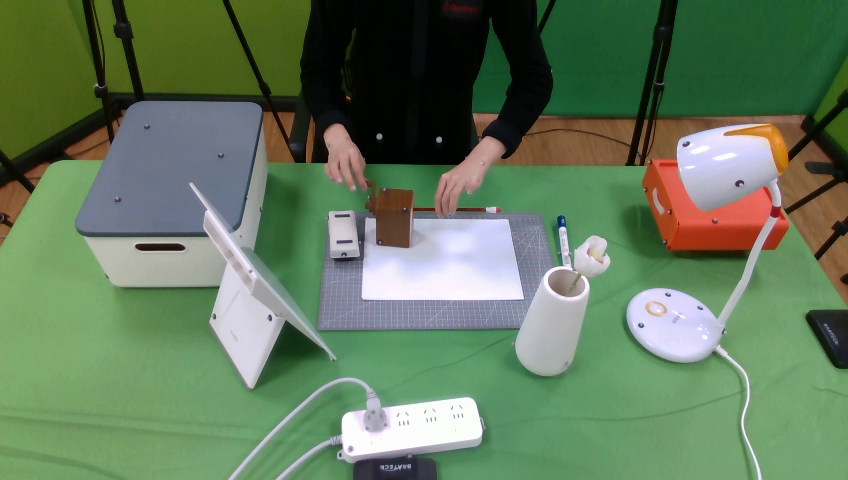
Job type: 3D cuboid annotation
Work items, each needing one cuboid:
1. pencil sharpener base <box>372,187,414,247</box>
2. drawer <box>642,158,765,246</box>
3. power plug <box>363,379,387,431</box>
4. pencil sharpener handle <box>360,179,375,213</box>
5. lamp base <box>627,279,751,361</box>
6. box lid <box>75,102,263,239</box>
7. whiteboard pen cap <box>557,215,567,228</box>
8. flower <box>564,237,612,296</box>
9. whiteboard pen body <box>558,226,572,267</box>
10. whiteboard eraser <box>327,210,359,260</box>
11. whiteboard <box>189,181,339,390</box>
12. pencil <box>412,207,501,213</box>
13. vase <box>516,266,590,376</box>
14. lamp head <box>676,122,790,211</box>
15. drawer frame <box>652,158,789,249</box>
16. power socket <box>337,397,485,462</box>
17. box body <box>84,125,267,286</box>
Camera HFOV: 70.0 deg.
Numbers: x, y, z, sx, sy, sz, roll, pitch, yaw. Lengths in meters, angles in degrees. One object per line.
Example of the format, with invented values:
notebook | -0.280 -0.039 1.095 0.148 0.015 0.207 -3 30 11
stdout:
pencil sharpener base | -0.060 -0.043 1.171 0.077 0.107 0.061 5 46 1
drawer | 0.565 -0.076 1.211 0.212 0.073 0.193 2 45 -2
power plug | -0.072 0.252 0.910 0.035 0.053 0.072 3 45 -1
pencil sharpener handle | -0.109 -0.082 1.153 0.030 0.036 0.067 5 85 1
lamp base | 0.460 0.100 1.027 0.178 0.181 0.160 27 51 17
box lid | -0.443 -0.138 1.094 0.263 0.015 0.369 -1 47 -5
whiteboard pen cap | 0.284 -0.035 1.246 0.018 0.018 0.033 4 52 -1
flower | 0.206 0.088 0.893 0.038 0.363 0.044 -16 67 -9
whiteboard pen body | 0.280 0.010 1.208 0.017 0.017 0.140 3 50 -1
whiteboard eraser | -0.159 -0.009 1.177 0.055 0.042 0.112 -5 47 -7
whiteboard | -0.292 0.096 0.929 0.144 0.307 0.216 -37 57 -10
pencil | 0.050 -0.057 1.152 0.194 0.012 0.012 0 46 1
vase | 0.208 0.132 0.964 0.098 0.201 0.097 3 46 -3
lamp head | 0.423 -0.104 0.819 0.122 0.113 0.112 -13 33 40
drawer frame | 0.571 -0.075 1.214 0.214 0.083 0.200 0 46 -1
power socket | -0.018 0.285 0.915 0.227 0.033 0.071 -5 46 -8
box body | -0.446 -0.088 1.150 0.254 0.161 0.361 -1 46 -5
